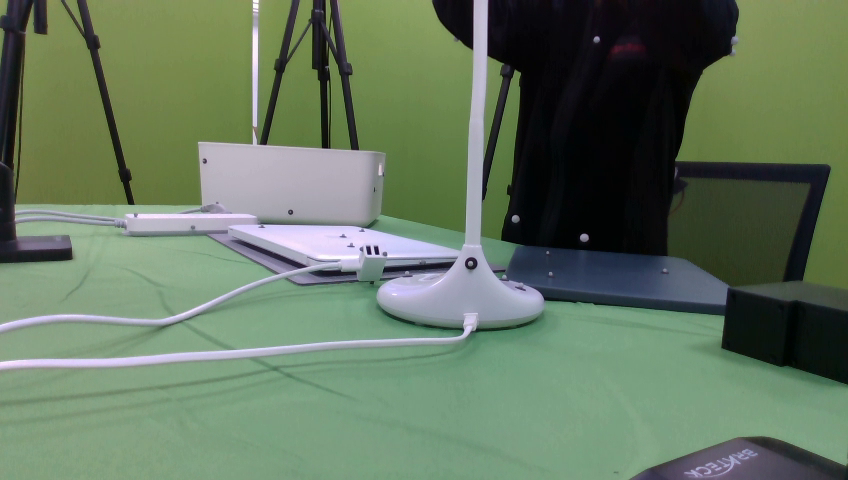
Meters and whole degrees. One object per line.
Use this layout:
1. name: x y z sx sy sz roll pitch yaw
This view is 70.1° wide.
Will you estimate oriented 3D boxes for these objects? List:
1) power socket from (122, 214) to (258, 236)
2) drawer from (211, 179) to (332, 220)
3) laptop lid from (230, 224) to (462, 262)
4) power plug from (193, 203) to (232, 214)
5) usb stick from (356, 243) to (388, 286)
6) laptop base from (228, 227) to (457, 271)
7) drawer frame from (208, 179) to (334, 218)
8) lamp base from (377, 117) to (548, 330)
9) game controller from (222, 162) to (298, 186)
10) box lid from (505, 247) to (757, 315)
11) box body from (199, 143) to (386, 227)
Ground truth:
1. power socket: -0.399 -0.028 1.049 0.228 0.032 0.072 -3 8 -34
2. drawer: -0.328 -0.095 1.332 0.212 0.073 0.194 5 8 6
3. laptop lid: -0.120 0.000 0.889 0.243 0.013 0.355 1 7 -33
4. power plug: -0.394 -0.042 1.139 0.072 0.052 0.035 -14 1 31
5. usb stick: -0.058 0.029 0.658 0.027 0.059 0.021 -5 52 -18
6. laptop base: -0.122 0.011 0.889 0.237 0.023 0.352 2 6 -35
7. drawer frame: -0.327 -0.093 1.328 0.213 0.082 0.202 -1 5 6
8. lamp base: 0.041 -0.019 0.551 0.161 0.180 0.179 1 10 -10
9. game controller: -0.357 -0.143 1.322 0.156 0.051 0.097 1 2 -16
10. box lid: 0.244 0.044 0.793 0.263 0.015 0.372 4 7 11
11. box body: -0.276 -0.124 1.334 0.364 0.160 0.254 3 7 1
